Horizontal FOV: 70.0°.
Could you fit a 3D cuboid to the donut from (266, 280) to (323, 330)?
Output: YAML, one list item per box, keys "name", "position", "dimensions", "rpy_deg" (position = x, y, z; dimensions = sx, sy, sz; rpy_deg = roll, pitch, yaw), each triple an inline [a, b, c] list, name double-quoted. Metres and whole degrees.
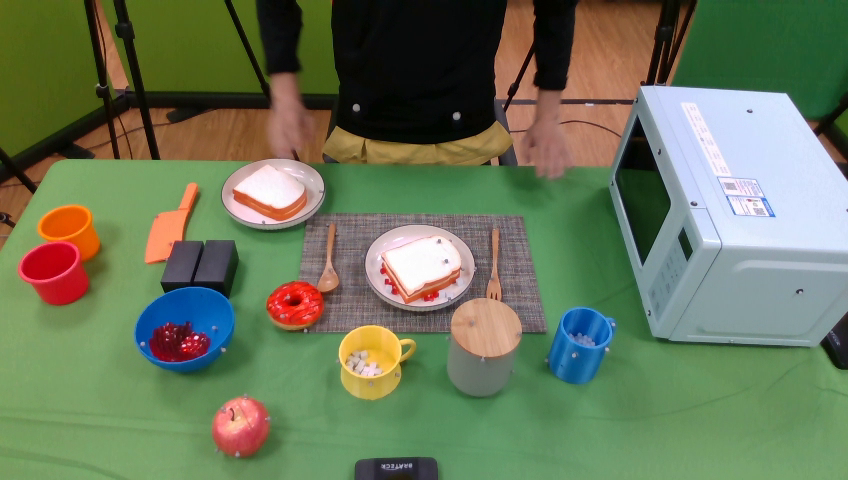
- name: "donut"
  position: [-0.223, 0.112, 1.051]
  dimensions: [0.099, 0.048, 0.098]
  rpy_deg: [2, 46, -2]

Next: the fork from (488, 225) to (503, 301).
- name: "fork"
  position: [0.138, 0.042, 1.160]
  dimensions: [0.028, 0.019, 0.206]
  rpy_deg: [1, 47, 8]

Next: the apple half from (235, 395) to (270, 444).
- name: "apple half"
  position: [-0.245, 0.260, 0.893]
  dimensions: [0.033, 0.082, 0.081]
  rpy_deg: [-29, 55, -22]

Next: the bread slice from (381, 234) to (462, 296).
- name: "bread slice"
  position: [0.001, 0.038, 1.107]
  dimensions: [0.134, 0.018, 0.106]
  rpy_deg: [-25, 56, -23]

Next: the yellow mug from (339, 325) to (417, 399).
- name: "yellow mug"
  position: [-0.072, 0.191, 0.978]
  dimensions: [0.131, 0.064, 0.099]
  rpy_deg: [-17, 50, -20]

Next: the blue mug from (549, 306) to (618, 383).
- name: "blue mug"
  position: [0.269, 0.167, 0.997]
  dimensions: [0.116, 0.106, 0.082]
  rpy_deg: [-19, 50, -21]

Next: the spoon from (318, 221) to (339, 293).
- name: "spoon"
  position: [-0.178, 0.028, 1.149]
  dimensions: [0.041, 0.022, 0.192]
  rpy_deg: [-16, 46, 12]

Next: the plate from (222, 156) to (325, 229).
- name: "plate"
  position: [-0.308, -0.095, 1.251]
  dimensions: [0.209, 0.038, 0.208]
  rpy_deg: [2, 47, -2]

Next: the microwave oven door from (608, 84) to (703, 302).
- name: "microwave oven door"
  position: [0.424, -0.096, 1.138]
  dimensions: [0.039, 0.245, 0.353]
  rpy_deg: [3, 46, -1]

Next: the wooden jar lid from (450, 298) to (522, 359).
- name: "wooden jar lid"
  position: [0.093, 0.135, 0.914]
  dimensions: [0.108, 0.021, 0.107]
  rpy_deg: [2, 49, -3]

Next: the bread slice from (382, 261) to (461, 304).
- name: "bread slice"
  position: [0.000, 0.055, 1.129]
  dimensions: [0.131, 0.019, 0.104]
  rpy_deg: [-22, 51, -21]

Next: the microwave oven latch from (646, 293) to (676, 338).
- name: "microwave oven latch"
  position: [0.412, 0.133, 1.060]
  dimensions: [0.030, 0.029, 0.078]
  rpy_deg: [3, 46, 0]

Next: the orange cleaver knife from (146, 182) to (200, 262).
- name: "orange cleaver knife"
  position: [-0.494, -0.039, 1.198]
  dimensions: [0.077, 0.012, 0.210]
  rpy_deg: [-3, 48, 2]

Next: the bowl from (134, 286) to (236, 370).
- name: "bowl"
  position: [-0.377, 0.156, 0.981]
  dimensions: [0.151, 0.077, 0.150]
  rpy_deg: [2, 46, -2]

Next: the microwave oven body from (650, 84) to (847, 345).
- name: "microwave oven body"
  position: [0.569, -0.054, 1.116]
  dimensions: [0.326, 0.261, 0.439]
  rpy_deg: [2, 46, -1]

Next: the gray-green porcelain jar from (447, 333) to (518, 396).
- name: "gray-green porcelain jar"
  position: [0.091, 0.178, 0.960]
  dimensions: [0.106, 0.127, 0.105]
  rpy_deg: [2, 47, -2]

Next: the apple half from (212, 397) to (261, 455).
- name: "apple half"
  position: [-0.276, 0.277, 0.877]
  dimensions: [0.053, 0.075, 0.080]
  rpy_deg: [-29, 58, -21]

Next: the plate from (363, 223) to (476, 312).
- name: "plate"
  position: [-0.009, 0.054, 1.126]
  dimensions: [0.208, 0.039, 0.206]
  rpy_deg: [2, 46, -2]
